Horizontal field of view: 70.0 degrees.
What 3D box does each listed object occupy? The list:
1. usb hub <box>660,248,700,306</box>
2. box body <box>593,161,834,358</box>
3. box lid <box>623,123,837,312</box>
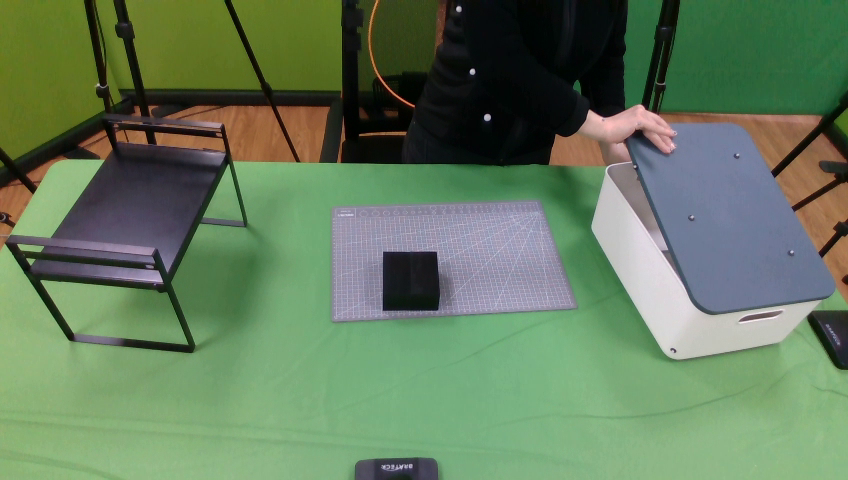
[{"bbox_3d":[0.483,0.069,1.150,0.049,0.025,0.124,0,49,-8],"label":"usb hub"},{"bbox_3d":[0.497,0.022,1.111,0.254,0.161,0.361,-7,47,-11],"label":"box body"},{"bbox_3d":[0.506,-0.057,1.024,0.264,0.015,0.369,-4,60,-14],"label":"box lid"}]
